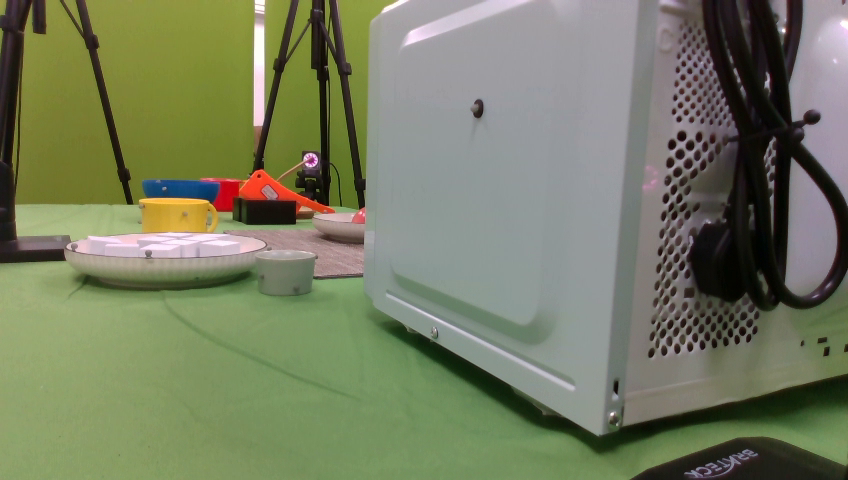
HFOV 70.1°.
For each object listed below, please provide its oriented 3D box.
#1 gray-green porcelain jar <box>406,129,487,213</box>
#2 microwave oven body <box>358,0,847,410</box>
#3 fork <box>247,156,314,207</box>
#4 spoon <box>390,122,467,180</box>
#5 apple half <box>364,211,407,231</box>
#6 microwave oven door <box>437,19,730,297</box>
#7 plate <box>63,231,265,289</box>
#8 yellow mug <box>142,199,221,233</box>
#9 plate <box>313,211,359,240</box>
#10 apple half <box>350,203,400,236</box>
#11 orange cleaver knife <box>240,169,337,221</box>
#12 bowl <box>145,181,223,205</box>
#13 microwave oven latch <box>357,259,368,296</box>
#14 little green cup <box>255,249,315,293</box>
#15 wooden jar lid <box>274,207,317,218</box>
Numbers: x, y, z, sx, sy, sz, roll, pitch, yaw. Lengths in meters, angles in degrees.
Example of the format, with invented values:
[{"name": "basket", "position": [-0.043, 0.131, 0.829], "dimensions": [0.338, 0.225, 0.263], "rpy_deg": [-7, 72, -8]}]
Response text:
[{"name": "gray-green porcelain jar", "position": [0.045, -0.122, 1.112], "dimensions": [0.106, 0.127, 0.106], "rpy_deg": [-37, 13, 11]}, {"name": "microwave oven body", "position": [0.210, -0.051, 0.471], "dimensions": [0.444, 0.260, 0.324], "rpy_deg": [-1, 7, -28]}, {"name": "fork", "position": [-0.360, -0.147, 1.523], "dimensions": [0.207, 0.018, 0.028], "rpy_deg": [-43, 16, -7]}, {"name": "spoon", "position": [0.004, -0.164, 1.077], "dimensions": [0.193, 0.041, 0.022], "rpy_deg": [42, -13, 26]}, {"name": "apple half", "position": [-0.068, -0.037, 1.104], "dimensions": [0.081, 0.033, 0.081], "rpy_deg": [-1, 9, 0]}, {"name": "microwave oven door", "position": [0.181, -0.076, 0.618], "dimensions": [0.358, 0.243, 0.039], "rpy_deg": [-2, 8, -28]}, {"name": "plate", "position": [-0.288, 0.021, 0.687], "dimensions": [0.208, 0.039, 0.207], "rpy_deg": [2, 8, 0]}, {"name": "yellow mug", "position": [-0.373, -0.030, 0.948], "dimensions": [0.099, 0.064, 0.131], "rpy_deg": [6, 7, 30]}, {"name": "plate", "position": [-0.091, -0.026, 1.063], "dimensions": [0.209, 0.038, 0.209], "rpy_deg": [2, 7, 0]}, {"name": "apple half", "position": [-0.081, -0.036, 1.024], "dimensions": [0.081, 0.053, 0.074], "rpy_deg": [-2, 11, -34]}, {"name": "orange cleaver knife", "position": [-0.287, -0.081, 1.298], "dimensions": [0.212, 0.077, 0.012], "rpy_deg": [25, -3, -31]}, {"name": "bowl", "position": [-0.499, -0.081, 1.261], "dimensions": [0.151, 0.077, 0.151], "rpy_deg": [2, 8, 0]}, {"name": "microwave oven latch", "position": [-0.019, 0.031, 0.528], "dimensions": [0.079, 0.029, 0.030], "rpy_deg": [-1, 7, -25]}, {"name": "little green cup", "position": [-0.144, 0.032, 0.627], "dimensions": [0.061, 0.038, 0.061], "rpy_deg": [2, 6, 0]}, {"name": "wooden jar lid", "position": [-0.303, -0.065, 1.409], "dimensions": [0.108, 0.020, 0.108], "rpy_deg": [3, 9, 0]}]
